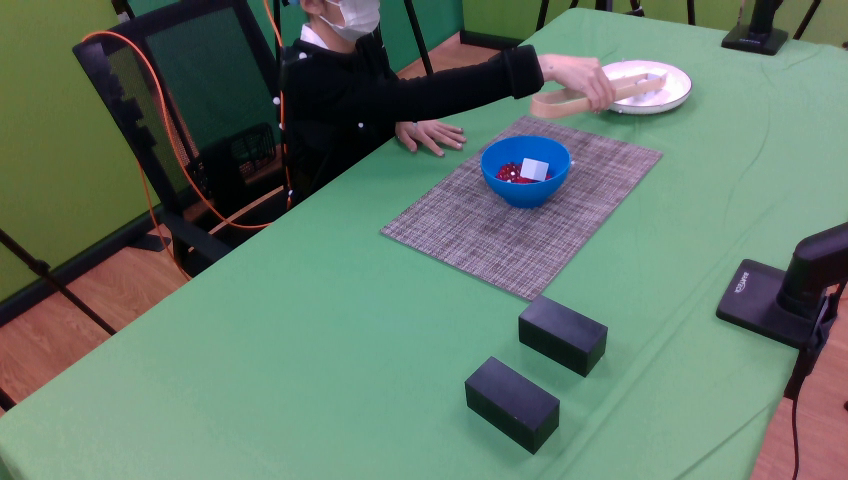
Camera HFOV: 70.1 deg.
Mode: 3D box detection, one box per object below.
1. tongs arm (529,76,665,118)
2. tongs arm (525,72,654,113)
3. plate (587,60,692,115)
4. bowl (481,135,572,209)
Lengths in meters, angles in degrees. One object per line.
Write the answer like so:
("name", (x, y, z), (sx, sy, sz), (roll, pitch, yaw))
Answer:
("tongs arm", (0.339, -0.278, 1.145), (0.387, 0.026, 0.050), (-23, 44, -37))
("tongs arm", (0.326, -0.288, 1.158), (0.390, 0.028, 0.028), (-19, 45, -34))
("plate", (0.445, -0.313, 1.263), (0.209, 0.038, 0.208), (-5, 40, 4))
("bowl", (0.172, -0.106, 1.025), (0.151, 0.077, 0.150), (-4, 40, 4))
